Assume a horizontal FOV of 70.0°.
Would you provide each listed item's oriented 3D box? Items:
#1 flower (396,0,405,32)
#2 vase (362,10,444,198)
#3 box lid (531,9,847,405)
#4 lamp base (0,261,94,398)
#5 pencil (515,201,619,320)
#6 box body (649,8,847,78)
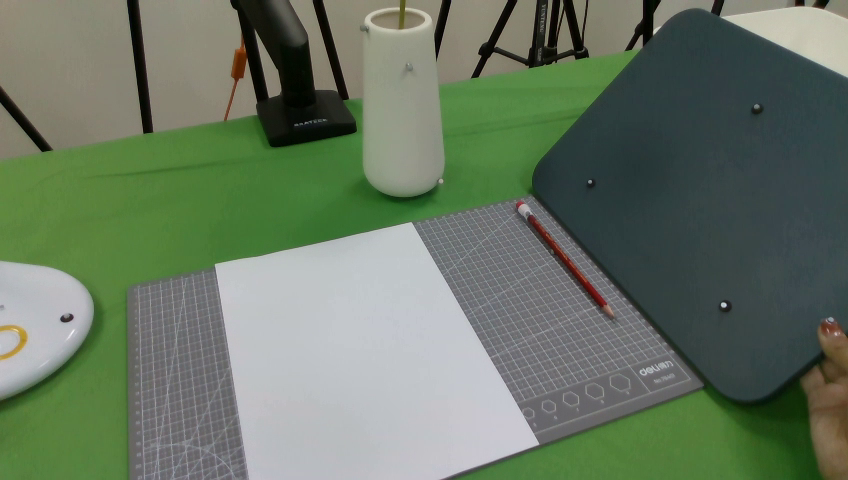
[{"bbox_3d":[-0.026,-0.196,0.610,0.044,0.364,0.038,24,57,7],"label":"flower"},{"bbox_3d":[-0.027,-0.147,0.679,0.098,0.202,0.097,-1,39,1],"label":"vase"},{"bbox_3d":[0.271,-0.057,0.572,0.015,0.263,0.367,27,21,-39],"label":"box lid"},{"bbox_3d":[-0.390,0.017,0.493,0.177,0.182,0.160,24,45,30],"label":"lamp base"},{"bbox_3d":[0.143,0.016,0.626,0.012,0.012,0.191,-15,43,-17],"label":"pencil"},{"bbox_3d":[0.434,-0.105,0.658,0.255,0.162,0.359,-14,41,-15],"label":"box body"}]
